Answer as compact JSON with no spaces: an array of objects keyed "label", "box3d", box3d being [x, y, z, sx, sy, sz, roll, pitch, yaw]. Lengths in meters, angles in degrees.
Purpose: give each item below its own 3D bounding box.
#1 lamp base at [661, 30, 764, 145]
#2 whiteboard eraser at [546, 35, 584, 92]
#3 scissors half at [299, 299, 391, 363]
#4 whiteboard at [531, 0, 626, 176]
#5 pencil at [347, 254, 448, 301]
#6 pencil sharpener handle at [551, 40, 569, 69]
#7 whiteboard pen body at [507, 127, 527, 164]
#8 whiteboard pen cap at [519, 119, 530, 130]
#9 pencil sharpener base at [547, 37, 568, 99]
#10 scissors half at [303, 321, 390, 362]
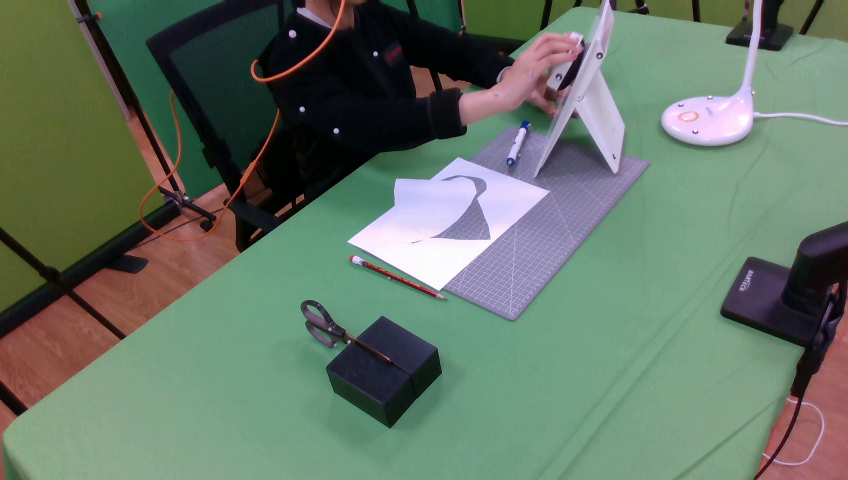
[{"label":"lamp base","box3d":[0.535,-0.287,1.096,0.179,0.181,0.159,-10,40,-4]},{"label":"whiteboard eraser","box3d":[0.240,-0.296,1.015,0.042,0.055,0.112,25,45,2]},{"label":"scissors half","box3d":[-0.107,0.120,0.794,0.174,0.040,0.013,26,44,32]},{"label":"whiteboard","box3d":[0.321,-0.258,1.050,0.144,0.306,0.217,22,45,5]},{"label":"pencil","box3d":[-0.044,0.058,0.933,0.192,0.012,0.012,22,49,28]},{"label":"pencil sharpener handle","box3d":[0.291,-0.409,1.321,0.036,0.068,0.030,2,40,-6]},{"label":"whiteboard pen body","box3d":[0.181,-0.189,1.163,0.017,0.017,0.140,7,42,19]},{"label":"whiteboard pen cap","box3d":[0.199,-0.227,1.204,0.018,0.018,0.033,7,43,18]},{"label":"pencil sharpener base","box3d":[0.300,-0.368,1.290,0.061,0.107,0.076,-8,40,2]},{"label":"scissors half","box3d":[-0.105,0.138,0.803,0.174,0.040,0.013,8,27,43]}]
